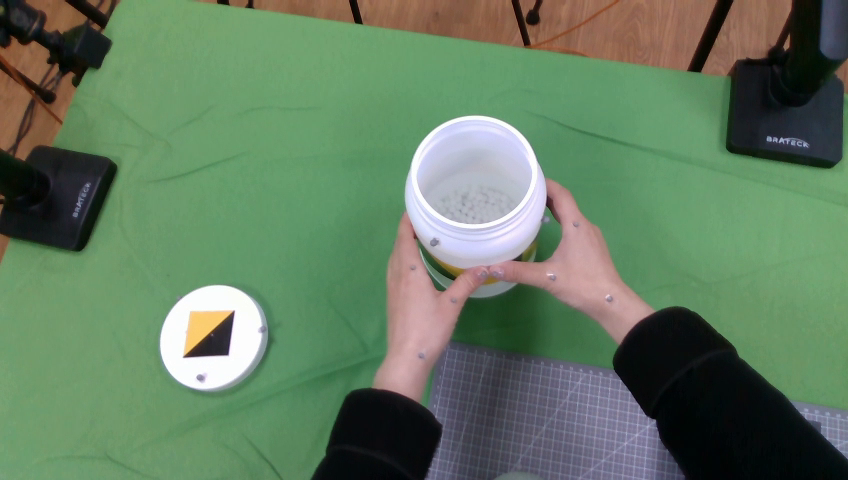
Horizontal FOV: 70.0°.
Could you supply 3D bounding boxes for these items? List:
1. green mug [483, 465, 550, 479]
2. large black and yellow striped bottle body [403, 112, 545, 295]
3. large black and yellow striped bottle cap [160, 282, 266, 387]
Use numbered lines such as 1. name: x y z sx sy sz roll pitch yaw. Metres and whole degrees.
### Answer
1. green mug: 0.070 0.256 0.541 0.125 0.105 0.092 -16 72 -1
2. large black and yellow striped bottle body: 0.050 -0.030 0.596 0.131 0.185 0.130 -2 69 5
3. large black and yellow striped bottle cap: -0.233 0.103 0.666 0.115 0.019 0.114 -1 71 4
